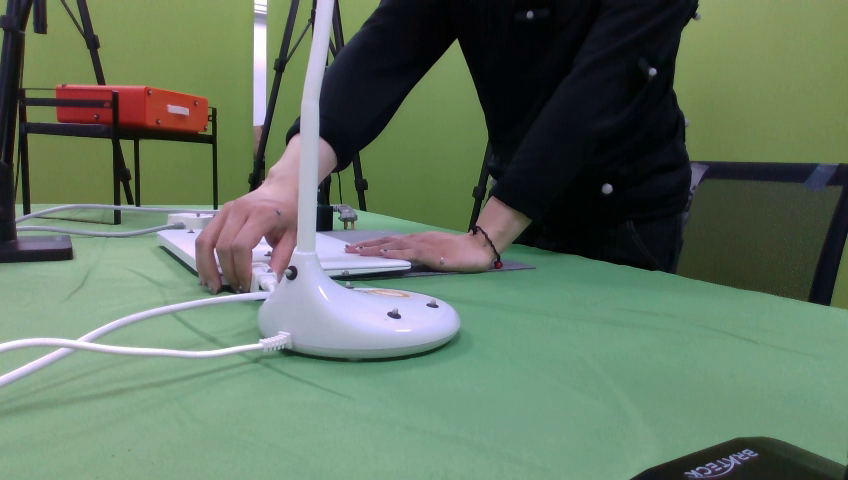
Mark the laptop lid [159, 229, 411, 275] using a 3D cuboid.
[{"bbox_3d":[-0.202,0.008,0.806,0.243,0.013,0.355,-1,8,-31],"label":"laptop lid"}]

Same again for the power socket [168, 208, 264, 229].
[{"bbox_3d":[-0.382,-0.038,1.128,0.072,0.032,0.227,4,8,16],"label":"power socket"}]

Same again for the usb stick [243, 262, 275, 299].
[{"bbox_3d":[-0.166,0.038,0.602,0.021,0.027,0.059,-6,11,-27],"label":"usb stick"}]

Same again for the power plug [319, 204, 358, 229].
[{"bbox_3d":[-0.169,-0.046,1.209,0.072,0.052,0.035,-5,-13,-3],"label":"power plug"}]

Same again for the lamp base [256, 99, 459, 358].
[{"bbox_3d":[-0.055,-0.013,0.463,0.160,0.180,0.180,6,11,27],"label":"lamp base"}]

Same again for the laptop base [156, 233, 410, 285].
[{"bbox_3d":[-0.204,0.019,0.806,0.237,0.023,0.352,0,7,-33],"label":"laptop base"}]

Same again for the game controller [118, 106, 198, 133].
[{"bbox_3d":[-0.555,-0.251,1.255,0.097,0.051,0.155,8,12,18],"label":"game controller"}]

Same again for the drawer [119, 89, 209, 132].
[{"bbox_3d":[-0.595,-0.267,1.263,0.211,0.073,0.195,3,8,15],"label":"drawer"}]

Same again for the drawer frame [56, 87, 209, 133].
[{"bbox_3d":[-0.598,-0.269,1.261,0.213,0.082,0.202,4,8,14],"label":"drawer frame"}]
